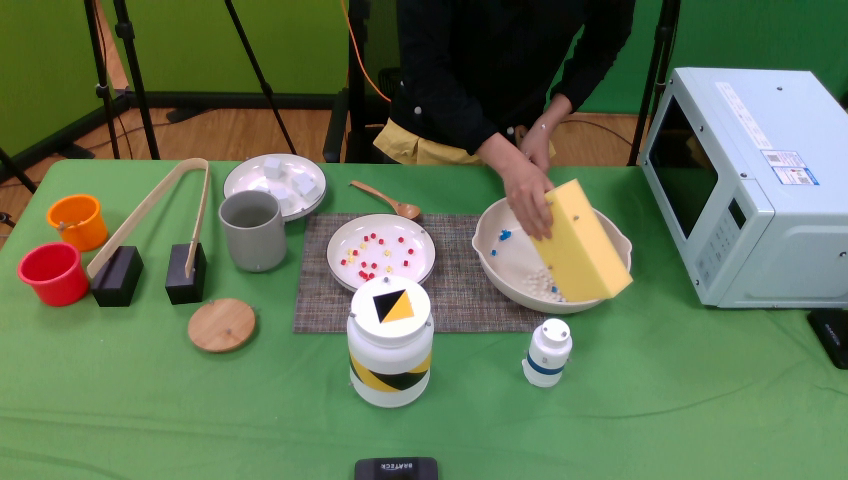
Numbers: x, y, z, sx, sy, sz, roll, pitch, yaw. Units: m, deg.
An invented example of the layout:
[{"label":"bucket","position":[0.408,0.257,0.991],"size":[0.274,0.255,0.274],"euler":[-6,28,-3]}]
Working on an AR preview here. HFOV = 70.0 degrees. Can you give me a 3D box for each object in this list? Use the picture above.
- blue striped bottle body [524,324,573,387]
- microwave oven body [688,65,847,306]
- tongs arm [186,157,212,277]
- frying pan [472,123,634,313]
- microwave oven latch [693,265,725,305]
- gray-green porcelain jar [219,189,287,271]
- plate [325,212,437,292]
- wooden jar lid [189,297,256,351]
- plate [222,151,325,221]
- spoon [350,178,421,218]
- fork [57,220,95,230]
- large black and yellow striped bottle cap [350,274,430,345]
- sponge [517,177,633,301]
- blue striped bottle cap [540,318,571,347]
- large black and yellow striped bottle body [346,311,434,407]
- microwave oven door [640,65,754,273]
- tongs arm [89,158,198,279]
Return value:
[{"label":"blue striped bottle body","position":[0.200,0.178,0.970],"size":[0.063,0.121,0.062],"euler":[2,46,-2]},{"label":"microwave oven body","position":[0.669,-0.111,1.176],"size":[0.326,0.261,0.439],"euler":[0,46,-3]},{"label":"tongs arm","position":[-0.445,-0.058,1.168],"size":[0.051,0.026,0.382],"euler":[-5,37,-6]},{"label":"frying pan","position":[0.235,-0.060,1.207],"size":[0.307,0.103,0.484],"euler":[1,55,-6]},{"label":"microwave oven latch","position":[0.523,0.082,1.116],"size":[0.030,0.029,0.078],"euler":[2,46,-1]},{"label":"gray-green porcelain jar","position":[-0.310,-0.014,1.113],"size":[0.106,0.127,0.105],"euler":[2,46,-2]},{"label":"plate","position":[-0.080,0.030,1.143],"size":[0.209,0.038,0.208],"euler":[2,46,-2]},{"label":"wooden jar lid","position":[-0.342,0.145,1.033],"size":[0.108,0.021,0.107],"euler":[2,45,-2]},{"label":"plate","position":[-0.310,-0.106,1.262],"size":[0.208,0.039,0.206],"euler":[2,47,-2]},{"label":"spoon","position":[-0.084,-0.092,1.272],"size":[0.193,0.022,0.041],"euler":[31,69,25]},{"label":"fork","position":[-0.624,-0.027,1.087],"size":[0.028,0.207,0.018],"euler":[-3,92,-17]},{"label":"large black and yellow striped bottle cap","position":[-0.048,0.098,0.867],"size":[0.115,0.019,0.114],"euler":[3,48,-3]},{"label":"sponge","position":[0.265,0.005,1.074],"size":[0.061,0.118,0.207],"euler":[-29,91,-29]},{"label":"blue striped bottle cap","position":[0.203,0.142,0.933],"size":[0.044,0.021,0.044],"euler":[3,49,-3]},{"label":"large black and yellow striped bottle body","position":[-0.052,0.157,0.929],"size":[0.131,0.185,0.130],"euler":[2,47,-2]},{"label":"microwave oven door","position":[0.523,-0.147,1.193],"size":[0.039,0.245,0.353],"euler":[0,47,-3]},{"label":"tongs arm","position":[-0.529,-0.057,1.164],"size":[0.028,0.028,0.385],"euler":[1,36,8]}]
